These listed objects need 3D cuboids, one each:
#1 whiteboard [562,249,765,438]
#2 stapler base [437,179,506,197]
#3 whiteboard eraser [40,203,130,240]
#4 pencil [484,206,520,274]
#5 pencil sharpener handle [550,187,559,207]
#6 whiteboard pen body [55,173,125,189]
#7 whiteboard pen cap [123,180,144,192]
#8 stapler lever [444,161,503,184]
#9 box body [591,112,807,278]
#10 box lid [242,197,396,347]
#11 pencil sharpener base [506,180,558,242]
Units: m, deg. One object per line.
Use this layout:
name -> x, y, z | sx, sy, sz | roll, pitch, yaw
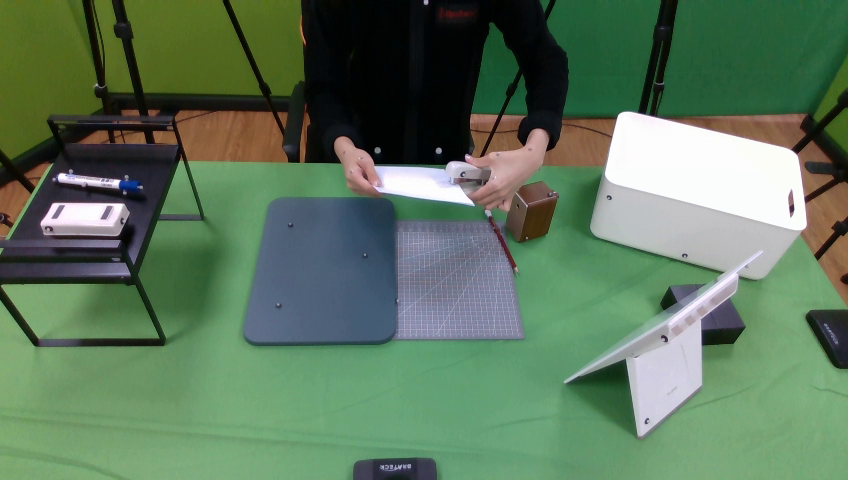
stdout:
whiteboard -> 0.386, 0.175, 0.905 | 0.217, 0.306, 0.143 | -26, 72, -26
stapler base -> 0.086, -0.100, 1.083 | 0.131, 0.024, 0.041 | -10, 30, -30
whiteboard eraser -> -0.513, -0.028, 0.922 | 0.113, 0.042, 0.055 | 1, 48, -3
pencil -> 0.156, -0.002, 1.217 | 0.012, 0.012, 0.192 | -10, 47, -13
pencil sharpener handle -> 0.261, -0.084, 1.221 | 0.031, 0.068, 0.036 | -16, 65, -19
whiteboard pen body -> -0.539, -0.095, 0.998 | 0.141, 0.017, 0.017 | 6, 46, 6
whiteboard pen cap -> -0.479, -0.089, 0.993 | 0.033, 0.018, 0.018 | 7, 46, 14
stapler lever -> 0.089, -0.123, 1.074 | 0.118, 0.040, 0.026 | -10, 31, -30
box body -> 0.540, -0.092, 1.229 | 0.363, 0.161, 0.253 | 16, 47, 11
box lid -> -0.186, 0.046, 1.147 | 0.263, 0.015, 0.369 | 0, 46, -3
pencil sharpener base -> 0.216, -0.059, 1.211 | 0.077, 0.107, 0.061 | -16, 49, -19
